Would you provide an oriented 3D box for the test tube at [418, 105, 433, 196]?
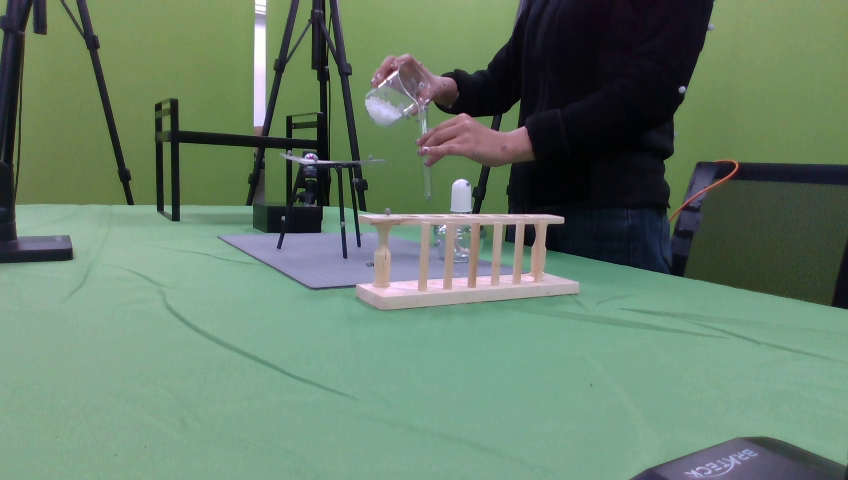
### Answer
[{"bbox_3d":[0.002,-0.147,0.995,0.017,0.150,0.017,-4,-3,0],"label":"test tube"}]

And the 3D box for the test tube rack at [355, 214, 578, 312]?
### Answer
[{"bbox_3d":[0.053,0.018,0.641,0.243,0.085,0.066,-1,9,-29],"label":"test tube rack"}]

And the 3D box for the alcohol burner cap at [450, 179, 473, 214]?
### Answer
[{"bbox_3d":[0.053,-0.063,0.858,0.034,0.048,0.034,0,15,0],"label":"alcohol burner cap"}]

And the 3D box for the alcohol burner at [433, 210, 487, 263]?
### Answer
[{"bbox_3d":[0.051,-0.027,0.863,0.078,0.119,0.078,1,6,0],"label":"alcohol burner"}]

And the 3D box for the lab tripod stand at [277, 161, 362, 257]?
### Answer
[{"bbox_3d":[-0.142,-0.049,0.884,0.148,0.131,0.148,1,9,0],"label":"lab tripod stand"}]

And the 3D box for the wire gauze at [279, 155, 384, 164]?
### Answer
[{"bbox_3d":[-0.134,-0.114,0.875,0.122,0.011,0.124,-1,8,-30],"label":"wire gauze"}]

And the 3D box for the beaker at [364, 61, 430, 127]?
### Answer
[{"bbox_3d":[-0.048,-0.243,1.033,0.100,0.084,0.074,-26,-9,41],"label":"beaker"}]
